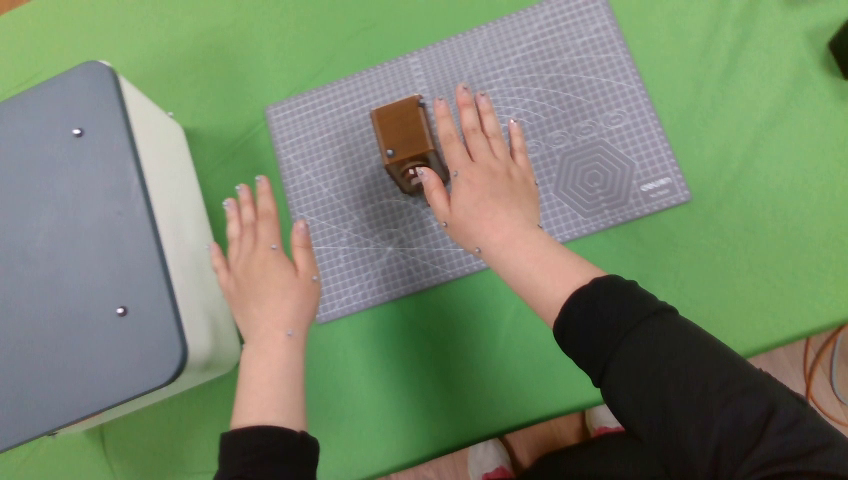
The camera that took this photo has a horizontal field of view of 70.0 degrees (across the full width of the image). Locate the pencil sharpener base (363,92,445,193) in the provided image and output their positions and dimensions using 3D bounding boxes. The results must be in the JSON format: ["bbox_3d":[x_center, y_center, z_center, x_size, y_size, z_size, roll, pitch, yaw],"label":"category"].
[{"bbox_3d":[-0.019,-0.104,0.685,0.061,0.107,0.076,-18,75,6],"label":"pencil sharpener base"}]

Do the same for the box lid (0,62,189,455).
[{"bbox_3d":[-0.402,0.011,0.626,0.263,0.015,0.369,-23,76,4],"label":"box lid"}]

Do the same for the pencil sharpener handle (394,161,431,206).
[{"bbox_3d":[-0.007,-0.060,0.661,0.036,0.068,0.030,-19,75,10],"label":"pencil sharpener handle"}]

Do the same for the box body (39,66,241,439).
[{"bbox_3d":[-0.392,0.024,0.703,0.254,0.161,0.361,-23,75,5],"label":"box body"}]
